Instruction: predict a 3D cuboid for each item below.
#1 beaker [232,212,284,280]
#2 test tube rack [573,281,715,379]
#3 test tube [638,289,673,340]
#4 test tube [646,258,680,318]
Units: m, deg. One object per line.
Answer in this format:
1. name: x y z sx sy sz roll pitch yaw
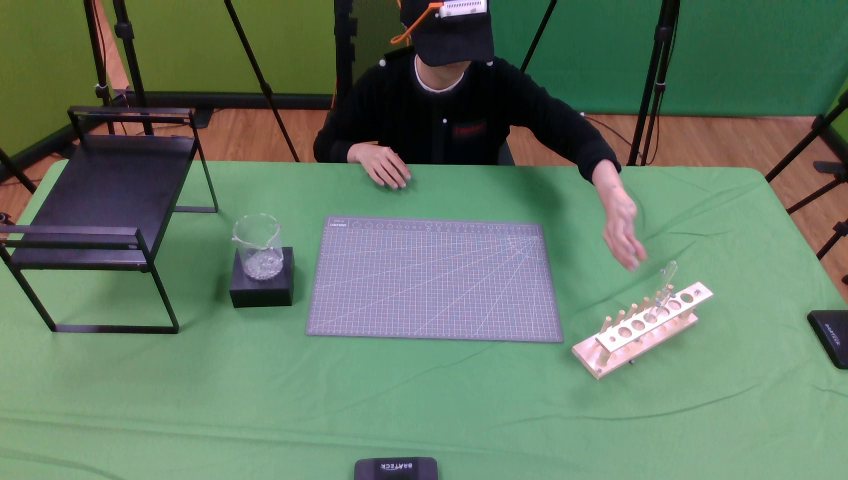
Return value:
1. beaker: -0.280 0.016 1.037 0.074 0.101 0.083 -18 50 -20
2. test tube rack: 0.378 0.140 1.038 0.242 0.085 0.066 -22 51 -23
3. test tube: 0.373 0.124 0.983 0.017 0.151 0.017 0 54 0
4. test tube: 0.407 0.084 1.033 0.017 0.151 0.017 1 46 -1
